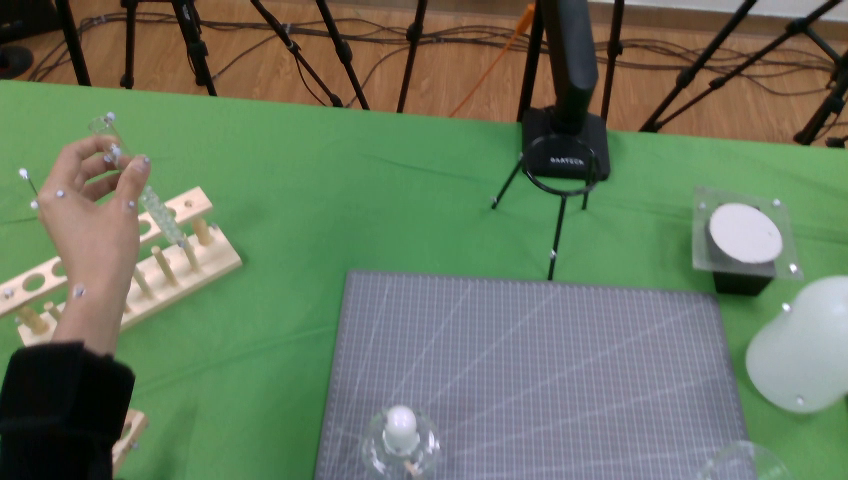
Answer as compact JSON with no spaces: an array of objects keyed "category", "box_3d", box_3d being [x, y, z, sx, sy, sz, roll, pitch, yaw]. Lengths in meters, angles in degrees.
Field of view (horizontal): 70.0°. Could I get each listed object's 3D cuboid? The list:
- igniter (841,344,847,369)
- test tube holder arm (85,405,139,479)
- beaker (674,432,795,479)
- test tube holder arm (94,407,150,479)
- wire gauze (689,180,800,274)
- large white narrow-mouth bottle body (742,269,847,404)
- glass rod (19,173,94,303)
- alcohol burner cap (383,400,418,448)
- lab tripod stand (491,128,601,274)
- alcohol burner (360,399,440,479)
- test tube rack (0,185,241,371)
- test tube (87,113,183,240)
[{"category":"igniter","box_3d":[0.471,0.234,0.616,0.057,0.025,0.274,15,56,-4]},{"category":"test tube holder arm","box_3d":[-0.292,0.197,0.564,0.010,0.015,0.087,12,57,15]},{"category":"beaker","box_3d":[0.280,0.230,0.565,0.084,0.101,0.073,8,56,5]},{"category":"test tube holder arm","box_3d":[-0.300,0.233,0.539,0.013,0.015,0.177,12,57,15]},{"category":"wire gauze","box_3d":[0.381,-0.016,0.730,0.121,0.011,0.124,10,56,5]},{"category":"large white narrow-mouth bottle body","box_3d":[0.409,0.088,0.610,0.102,0.196,0.101,1,56,-1]},{"category":"glass rod","box_3d":[-0.372,0.007,0.622,0.008,0.201,0.008,4,48,-4]},{"category":"alcohol burner cap","box_3d":[-0.022,0.164,0.547,0.034,0.048,0.033,0,51,0]},{"category":"lab tripod stand","box_3d":[0.154,-0.054,0.731,0.148,0.132,0.147,2,58,-2]},{"category":"alcohol burner","box_3d":[-0.023,0.184,0.577,0.078,0.120,0.077,2,55,-3]},{"category":"test tube rack","box_3d":[-0.339,0.040,0.681,0.242,0.086,0.066,-31,63,-21]},{"category":"test tube","box_3d":[-0.237,-0.046,0.508,0.017,0.151,0.017,-2,55,3]}]
